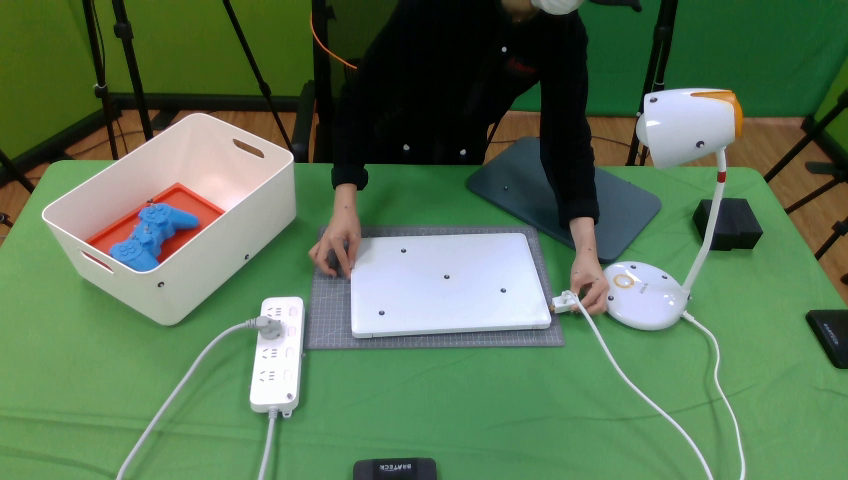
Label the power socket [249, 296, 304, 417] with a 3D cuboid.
[{"bbox_3d":[-0.239,0.182,0.996,0.072,0.033,0.225,-2,47,-5],"label":"power socket"}]

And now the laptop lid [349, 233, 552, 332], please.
[{"bbox_3d":[0.040,0.071,1.119,0.357,0.013,0.240,-1,44,-5],"label":"laptop lid"}]

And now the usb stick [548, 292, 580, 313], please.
[{"bbox_3d":[0.248,0.114,1.086,0.059,0.027,0.021,-15,58,1],"label":"usb stick"}]

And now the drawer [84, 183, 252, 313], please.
[{"bbox_3d":[-0.458,0.008,1.099,0.194,0.073,0.211,29,49,21],"label":"drawer"}]

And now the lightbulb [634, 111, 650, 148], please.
[{"bbox_3d":[0.348,-0.163,0.852,0.059,0.060,0.107,-35,19,-32],"label":"lightbulb"}]

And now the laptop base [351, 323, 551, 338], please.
[{"bbox_3d":[0.040,0.081,1.125,0.355,0.023,0.234,-2,43,-6],"label":"laptop base"}]

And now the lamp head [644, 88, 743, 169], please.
[{"bbox_3d":[0.380,-0.161,0.851,0.122,0.113,0.112,-4,42,25],"label":"lamp head"}]

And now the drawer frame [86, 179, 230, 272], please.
[{"bbox_3d":[-0.453,0.010,1.100,0.201,0.083,0.213,28,54,23],"label":"drawer frame"}]

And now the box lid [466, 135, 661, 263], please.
[{"bbox_3d":[0.306,-0.102,1.327,0.370,0.015,0.263,32,52,25],"label":"box lid"}]

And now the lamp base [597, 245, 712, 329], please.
[{"bbox_3d":[0.418,0.051,1.071,0.179,0.181,0.160,22,49,13],"label":"lamp base"}]

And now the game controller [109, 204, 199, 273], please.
[{"bbox_3d":[-0.467,-0.005,1.044,0.097,0.052,0.154,8,45,10],"label":"game controller"}]

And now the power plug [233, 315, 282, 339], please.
[{"bbox_3d":[-0.271,0.143,0.999,0.072,0.053,0.035,6,47,3],"label":"power plug"}]

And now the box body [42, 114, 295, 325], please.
[{"bbox_3d":[-0.437,-0.046,1.110,0.253,0.161,0.363,24,49,19],"label":"box body"}]
